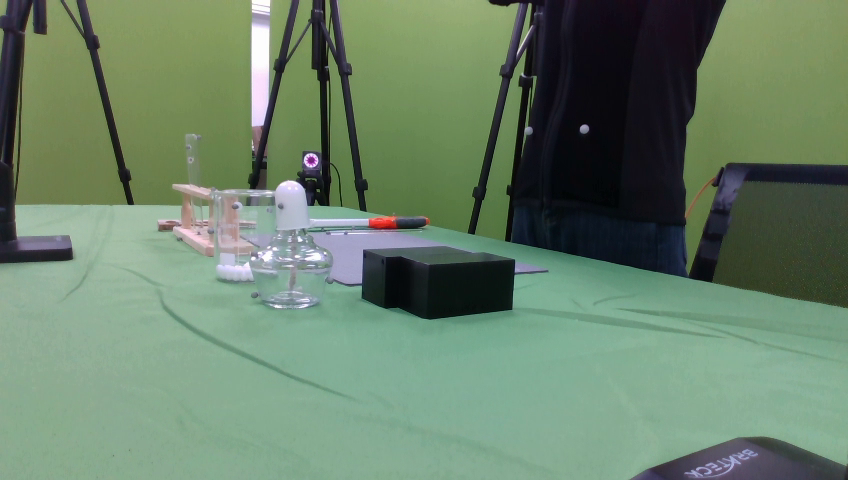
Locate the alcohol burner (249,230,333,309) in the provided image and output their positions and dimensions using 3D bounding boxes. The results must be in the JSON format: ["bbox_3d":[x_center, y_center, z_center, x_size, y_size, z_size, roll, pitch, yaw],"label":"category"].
[{"bbox_3d":[-0.125,0.004,0.568,0.078,0.119,0.078,2,9,0],"label":"alcohol burner"}]

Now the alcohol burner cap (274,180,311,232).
[{"bbox_3d":[-0.125,-0.032,0.563,0.034,0.048,0.034,-5,6,1],"label":"alcohol burner cap"}]

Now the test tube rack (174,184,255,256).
[{"bbox_3d":[-0.327,-0.036,0.928,0.067,0.085,0.241,-2,9,-32],"label":"test tube rack"}]

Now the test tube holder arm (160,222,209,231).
[{"bbox_3d":[-0.423,-0.024,1.075,0.088,0.015,0.010,-3,44,-38],"label":"test tube holder arm"}]

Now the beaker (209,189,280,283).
[{"bbox_3d":[-0.200,-0.006,0.677,0.084,0.100,0.074,3,7,8],"label":"beaker"}]

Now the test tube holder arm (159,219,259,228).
[{"bbox_3d":[-0.390,-0.030,1.107,0.179,0.015,0.013,-3,44,-39],"label":"test tube holder arm"}]

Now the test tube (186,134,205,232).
[{"bbox_3d":[-0.350,-0.087,0.928,0.017,0.150,0.017,-3,5,1],"label":"test tube"}]

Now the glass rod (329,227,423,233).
[{"bbox_3d":[-0.087,-0.019,1.148,0.201,0.008,0.008,-3,8,-32],"label":"glass rod"}]

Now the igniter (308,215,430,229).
[{"bbox_3d":[-0.109,-0.037,1.228,0.278,0.025,0.057,-3,-1,-35],"label":"igniter"}]
